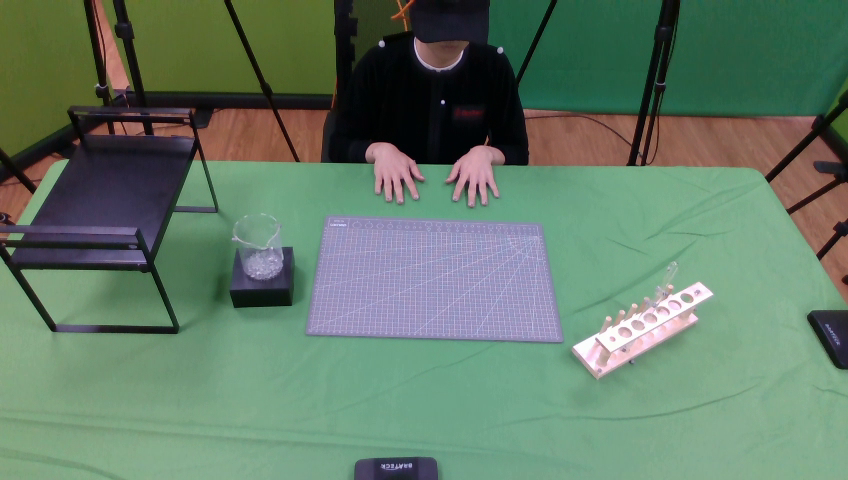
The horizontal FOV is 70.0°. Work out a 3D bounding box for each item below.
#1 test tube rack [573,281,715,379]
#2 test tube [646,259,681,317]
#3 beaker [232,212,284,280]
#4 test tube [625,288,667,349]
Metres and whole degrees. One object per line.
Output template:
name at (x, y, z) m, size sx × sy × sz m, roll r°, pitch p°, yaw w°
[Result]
test tube rack at (0.378, 0.140, 1.038) m, size 0.242 × 0.085 × 0.066 m, roll -22°, pitch 51°, yaw -23°
test tube at (0.406, 0.084, 1.033) m, size 0.017 × 0.151 × 0.017 m, roll 1°, pitch 48°, yaw -1°
beaker at (-0.280, 0.016, 1.037) m, size 0.074 × 0.101 × 0.083 m, roll -18°, pitch 50°, yaw -20°
test tube at (0.355, 0.130, 0.976) m, size 0.017 × 0.151 × 0.017 m, roll 5°, pitch 45°, yaw -5°
